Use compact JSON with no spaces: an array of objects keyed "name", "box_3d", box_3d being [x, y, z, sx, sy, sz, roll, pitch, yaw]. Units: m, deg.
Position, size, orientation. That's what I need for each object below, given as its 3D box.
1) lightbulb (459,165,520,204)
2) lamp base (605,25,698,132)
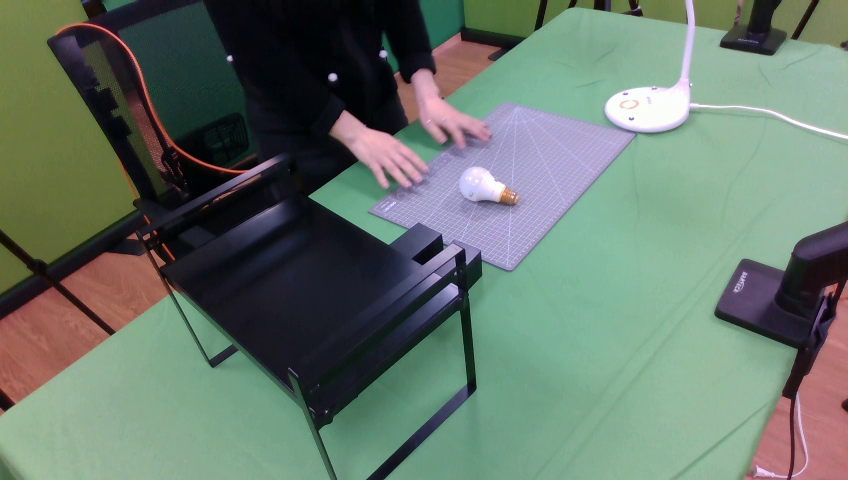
[{"name":"lightbulb","box_3d":[0.113,-0.090,1.037,0.107,0.059,0.059,22,47,10]},{"name":"lamp base","box_3d":[0.449,-0.322,1.162,0.179,0.181,0.159,-6,41,-2]}]
